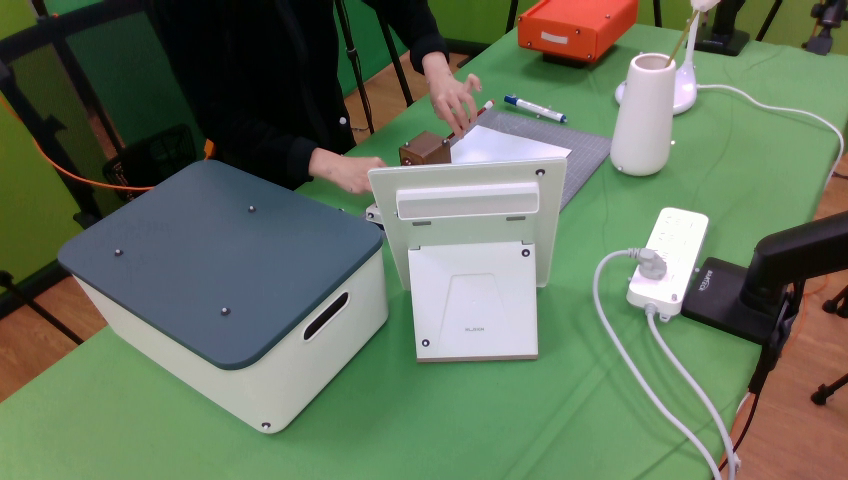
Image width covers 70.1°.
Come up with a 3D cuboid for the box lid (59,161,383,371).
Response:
[{"bbox_3d":[-0.262,0.010,0.777,0.369,0.015,0.264,21,48,29],"label":"box lid"}]

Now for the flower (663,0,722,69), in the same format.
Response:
[{"bbox_3d":[0.379,-0.261,0.965,0.044,0.362,0.038,21,53,5],"label":"flower"}]

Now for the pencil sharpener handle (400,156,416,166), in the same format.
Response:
[{"bbox_3d":[-0.034,-0.106,1.015,0.035,0.068,0.031,32,54,29],"label":"pencil sharpener handle"}]

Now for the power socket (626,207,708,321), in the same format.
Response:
[{"bbox_3d":[0.359,0.025,0.886,0.072,0.033,0.227,16,46,26],"label":"power socket"}]

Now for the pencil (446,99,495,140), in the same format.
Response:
[{"bbox_3d":[0.069,-0.204,1.088,0.012,0.012,0.194,26,53,32],"label":"pencil"}]

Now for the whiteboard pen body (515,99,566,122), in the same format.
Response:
[{"bbox_3d":[0.234,-0.274,1.262,0.139,0.017,0.017,28,51,29],"label":"whiteboard pen body"}]

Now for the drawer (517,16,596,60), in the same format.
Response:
[{"bbox_3d":[0.352,-0.506,1.405,0.193,0.073,0.212,23,49,32],"label":"drawer"}]

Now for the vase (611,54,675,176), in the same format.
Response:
[{"bbox_3d":[0.377,-0.209,1.031,0.098,0.201,0.097,-3,40,3],"label":"vase"}]

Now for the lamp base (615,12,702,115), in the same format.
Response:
[{"bbox_3d":[0.484,-0.363,1.211,0.180,0.181,0.159,-15,41,-14],"label":"lamp base"}]

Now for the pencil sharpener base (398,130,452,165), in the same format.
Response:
[{"bbox_3d":[0.004,-0.123,1.049,0.061,0.107,0.077,28,52,34],"label":"pencil sharpener base"}]

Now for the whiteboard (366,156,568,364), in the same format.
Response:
[{"bbox_3d":[0.059,0.050,0.738,0.217,0.307,0.143,-2,60,6],"label":"whiteboard"}]

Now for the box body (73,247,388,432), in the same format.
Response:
[{"bbox_3d":[-0.256,0.065,0.827,0.361,0.161,0.255,21,48,29],"label":"box body"}]

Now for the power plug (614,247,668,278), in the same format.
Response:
[{"bbox_3d":[0.306,0.031,0.851,0.072,0.053,0.035,24,49,33],"label":"power plug"}]

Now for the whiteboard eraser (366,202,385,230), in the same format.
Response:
[{"bbox_3d":[-0.038,-0.038,1.006,0.112,0.042,0.055,17,47,25],"label":"whiteboard eraser"}]

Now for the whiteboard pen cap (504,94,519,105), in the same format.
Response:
[{"bbox_3d":[0.190,-0.299,1.292,0.033,0.018,0.018,30,52,28],"label":"whiteboard pen cap"}]

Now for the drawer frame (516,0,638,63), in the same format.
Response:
[{"bbox_3d":[0.355,-0.508,1.410,0.200,0.083,0.214,23,51,32],"label":"drawer frame"}]
